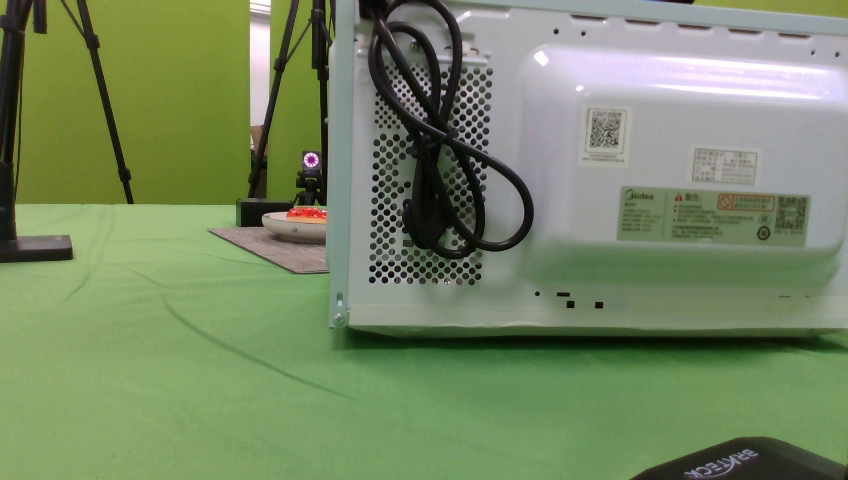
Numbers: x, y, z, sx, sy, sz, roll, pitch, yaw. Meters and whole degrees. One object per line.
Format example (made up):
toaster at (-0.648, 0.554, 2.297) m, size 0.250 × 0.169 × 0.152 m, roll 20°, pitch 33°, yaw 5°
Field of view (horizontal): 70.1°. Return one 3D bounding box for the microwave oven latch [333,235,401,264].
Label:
microwave oven latch at (-0.066, 0.011, 0.700) m, size 0.079 × 0.029 × 0.030 m, roll 2°, pitch 6°, yaw -8°

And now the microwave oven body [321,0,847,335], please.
microwave oven body at (0.133, -0.062, 0.568) m, size 0.443 × 0.260 × 0.325 m, roll 2°, pitch 6°, yaw -8°

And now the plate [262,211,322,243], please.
plate at (-0.170, -0.023, 1.036) m, size 0.209 × 0.038 × 0.209 m, roll 2°, pitch 7°, yaw 0°

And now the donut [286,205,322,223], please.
donut at (-0.186, -0.034, 1.031) m, size 0.099 × 0.048 × 0.099 m, roll 3°, pitch 5°, yaw 0°

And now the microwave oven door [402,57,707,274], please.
microwave oven door at (0.156, -0.086, 0.726) m, size 0.356 × 0.243 × 0.039 m, roll 2°, pitch 8°, yaw -5°
